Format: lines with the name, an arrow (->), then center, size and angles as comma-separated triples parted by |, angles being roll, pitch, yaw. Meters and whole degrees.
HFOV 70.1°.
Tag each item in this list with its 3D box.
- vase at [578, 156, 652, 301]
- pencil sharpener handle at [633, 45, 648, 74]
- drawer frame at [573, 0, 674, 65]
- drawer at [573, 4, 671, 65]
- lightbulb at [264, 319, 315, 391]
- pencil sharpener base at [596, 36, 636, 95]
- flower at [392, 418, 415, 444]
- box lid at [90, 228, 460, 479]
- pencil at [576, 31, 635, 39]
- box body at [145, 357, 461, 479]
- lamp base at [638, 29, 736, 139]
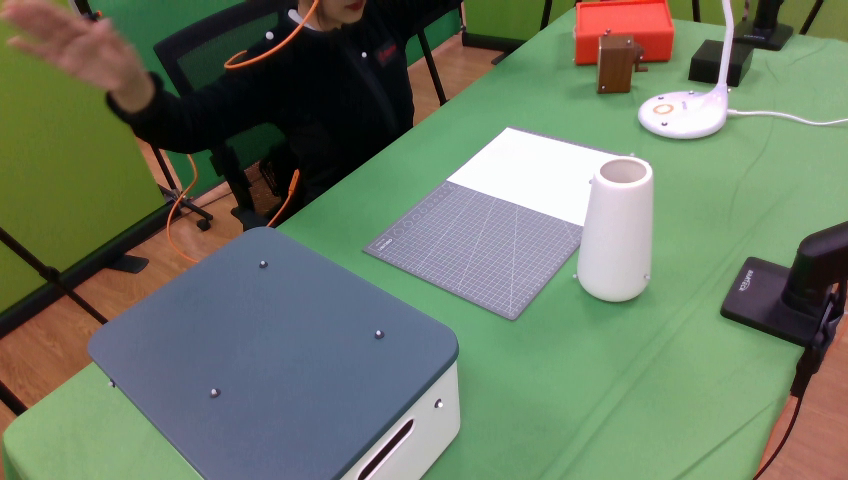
vase -> 0.261, -0.011, 0.812 | 0.098, 0.201, 0.097 | -4, 40, 4
pencil sharpener handle -> 0.454, -0.378, 1.262 | 0.030, 0.068, 0.036 | 1, 47, 13
drawer frame -> 0.464, -0.492, 1.434 | 0.213, 0.083, 0.201 | 1, 40, 12
drawer -> 0.461, -0.490, 1.435 | 0.211, 0.073, 0.194 | 2, 41, 12
lightbulb -> -0.175, 0.154, 0.806 | 0.060, 0.060, 0.107 | -24, 58, -17
pencil sharpener base -> 0.406, -0.369, 1.280 | 0.076, 0.107, 0.061 | 1, 41, 13
flower -> -0.153, 0.228, 0.743 | 0.360, 0.038, 0.044 | -2, 44, 16
box lid -> -0.173, 0.112, 0.662 | 0.368, 0.015, 0.264 | 25, 50, 35
pencil -> 0.431, -0.490, 1.444 | 0.012, 0.012, 0.192 | -26, 30, -18
box body -> -0.162, 0.170, 0.708 | 0.361, 0.161, 0.255 | 25, 50, 34
lamp base -> 0.501, -0.302, 1.125 | 0.179, 0.181, 0.160 | -4, 40, 3
